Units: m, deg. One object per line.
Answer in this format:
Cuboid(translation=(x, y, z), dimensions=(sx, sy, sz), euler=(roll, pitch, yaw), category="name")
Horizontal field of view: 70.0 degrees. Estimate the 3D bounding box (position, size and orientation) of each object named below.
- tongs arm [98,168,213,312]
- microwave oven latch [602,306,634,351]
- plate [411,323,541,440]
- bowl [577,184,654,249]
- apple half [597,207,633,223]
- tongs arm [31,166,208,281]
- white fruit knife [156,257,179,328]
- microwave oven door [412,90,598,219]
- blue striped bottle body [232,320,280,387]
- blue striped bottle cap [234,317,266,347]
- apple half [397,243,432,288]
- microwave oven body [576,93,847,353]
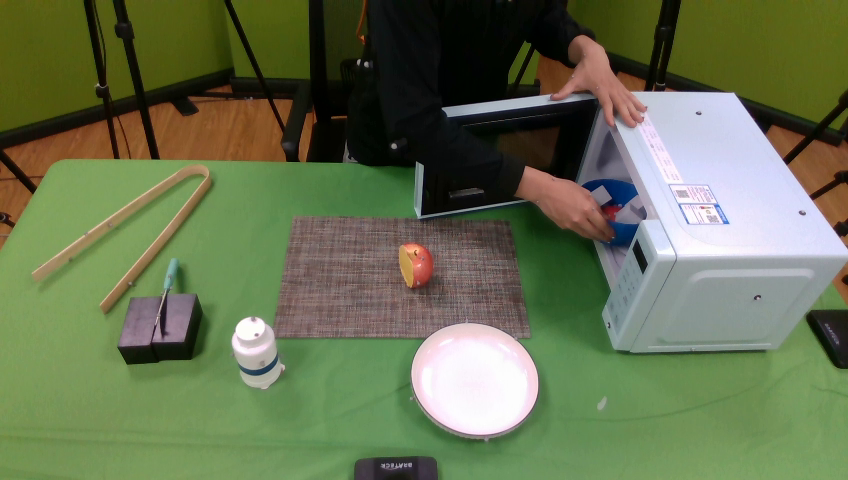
Cuboid(translation=(-0.503, -0.013, 1.166), dimensions=(0.028, 0.028, 0.385), euler=(10, 45, 11), category="tongs arm")
Cuboid(translation=(0.332, 0.153, 1.044), dimensions=(0.030, 0.029, 0.078), euler=(0, 45, -4), category="microwave oven latch")
Cuboid(translation=(0.082, 0.228, 0.976), dimensions=(0.208, 0.039, 0.206), euler=(2, 46, -2), category="plate")
Cuboid(translation=(0.353, -0.036, 1.135), dimensions=(0.151, 0.077, 0.150), euler=(7, 33, -4), category="bowl")
Cuboid(translation=(0.352, -0.043, 1.129), dimensions=(0.081, 0.033, 0.081), euler=(-2, 31, 2), category="apple half")
Cuboid(translation=(-0.578, -0.040, 1.184), dimensions=(0.050, 0.026, 0.384), euler=(22, 47, 18), category="tongs arm")
Cuboid(translation=(-0.440, 0.085, 1.037), dimensions=(0.016, 0.027, 0.206), euler=(10, 26, -19), category="white fruit knife")
Cuboid(translation=(0.155, -0.167, 1.200), dimensions=(0.356, 0.245, 0.039), euler=(-10, 47, -13), category="microwave oven door")
Cuboid(translation=(-0.262, 0.172, 0.944), dimensions=(0.063, 0.121, 0.062), euler=(2, 46, -2), category="blue striped bottle body")
Cuboid(translation=(-0.260, 0.137, 0.906), dimensions=(0.044, 0.021, 0.044), euler=(5, 42, -4), category="blue striped bottle cap")
Cuboid(translation=(-0.013, 0.047, 1.115), dimensions=(0.053, 0.075, 0.080), euler=(-10, 43, -21), category="apple half")
Cuboid(translation=(0.476, -0.041, 1.109), dimensions=(0.326, 0.261, 0.438), euler=(-1, 45, -4), category="microwave oven body")
